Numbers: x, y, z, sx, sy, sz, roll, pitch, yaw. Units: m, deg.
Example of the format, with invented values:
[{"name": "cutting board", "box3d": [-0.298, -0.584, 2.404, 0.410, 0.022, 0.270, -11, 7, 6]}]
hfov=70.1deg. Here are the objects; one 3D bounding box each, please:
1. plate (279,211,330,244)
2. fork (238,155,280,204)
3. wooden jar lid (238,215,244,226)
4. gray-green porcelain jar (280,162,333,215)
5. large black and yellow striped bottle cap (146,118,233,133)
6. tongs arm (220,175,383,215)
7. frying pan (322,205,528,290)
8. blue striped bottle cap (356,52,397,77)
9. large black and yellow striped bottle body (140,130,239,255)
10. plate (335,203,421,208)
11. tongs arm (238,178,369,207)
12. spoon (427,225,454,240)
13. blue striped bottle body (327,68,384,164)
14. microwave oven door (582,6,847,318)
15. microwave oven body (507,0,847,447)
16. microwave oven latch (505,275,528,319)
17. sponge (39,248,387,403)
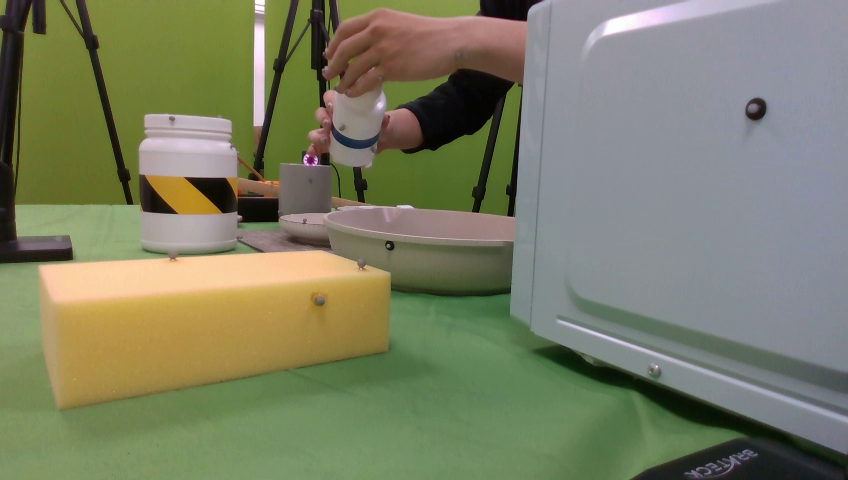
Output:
[{"name": "plate", "box3d": [-0.139, -0.022, 1.021, 0.209, 0.038, 0.209, 2, 8, 0]}, {"name": "fork", "box3d": [-0.396, -0.143, 1.486, 0.028, 0.018, 0.208, 19, -26, 44]}, {"name": "wooden jar lid", "box3d": [-0.404, -0.037, 1.169, 0.108, 0.020, 0.108, 3, 7, 0]}, {"name": "gray-green porcelain jar", "box3d": [-0.238, -0.092, 1.221, 0.106, 0.126, 0.106, 2, 7, 0]}, {"name": "large black and yellow striped bottle cap", "box3d": [-0.332, -0.163, 0.861, 0.115, 0.019, 0.115, 1, 9, 0]}, {"name": "tongs arm", "box3d": [-0.285, -0.105, 1.445, 0.389, 0.027, 0.028, 10, -3, -23]}, {"name": "frying pan", "box3d": [0.109, -0.017, 0.799, 0.490, 0.102, 0.305, -12, 16, -30]}, {"name": "blue striped bottle cap", "box3d": [-0.053, -0.197, 0.678, 0.044, 0.020, 0.044, -10, 10, 2]}, {"name": "large black and yellow striped bottle body", "box3d": [-0.336, -0.078, 0.871, 0.131, 0.184, 0.130, 2, 8, 0]}, {"name": "plate", "box3d": [-0.089, -0.053, 1.309, 0.208, 0.039, 0.207, 2, 8, 0]}, {"name": "tongs arm", "box3d": [-0.241, -0.095, 1.374, 0.387, 0.026, 0.050, 9, 1, -37]}, {"name": "spoon", "box3d": [0.024, -0.019, 1.125, 0.042, 0.021, 0.193, -15, 9, -4]}, {"name": "blue striped bottle body", "box3d": [-0.084, -0.153, 0.742, 0.063, 0.063, 0.120, 0, -30, -14]}, {"name": "microwave oven door", "box3d": [0.295, -0.067, 0.569, 0.358, 0.243, 0.039, -3, 8, -31]}, {"name": "microwave oven body", "box3d": [0.331, -0.042, 0.425, 0.444, 0.260, 0.324, -2, 8, -31]}, {"name": "microwave oven latch", "box3d": [0.100, 0.041, 0.471, 0.079, 0.029, 0.030, -1, 8, -28]}, {"name": "sponge", "box3d": [-0.142, 0.047, 0.420, 0.208, 0.061, 0.117, -3, 8, -37]}]
